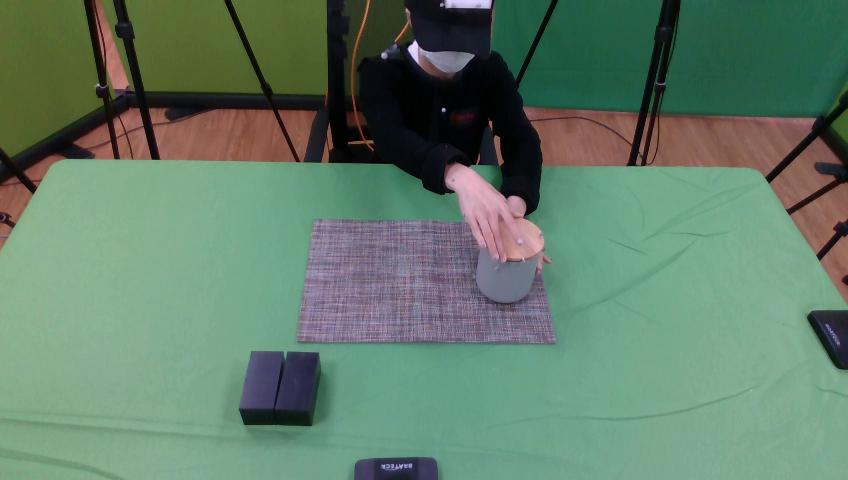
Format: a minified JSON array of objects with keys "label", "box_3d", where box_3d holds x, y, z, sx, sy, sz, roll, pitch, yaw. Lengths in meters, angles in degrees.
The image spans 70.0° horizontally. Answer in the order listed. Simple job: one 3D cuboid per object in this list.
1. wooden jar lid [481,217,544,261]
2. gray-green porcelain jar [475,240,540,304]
[{"label":"wooden jar lid","box_3d":[0.152,0.001,1.044,0.108,0.021,0.107,2,43,-2]},{"label":"gray-green porcelain jar","box_3d":[0.148,0.044,1.090,0.106,0.127,0.105,2,46,-2]}]
